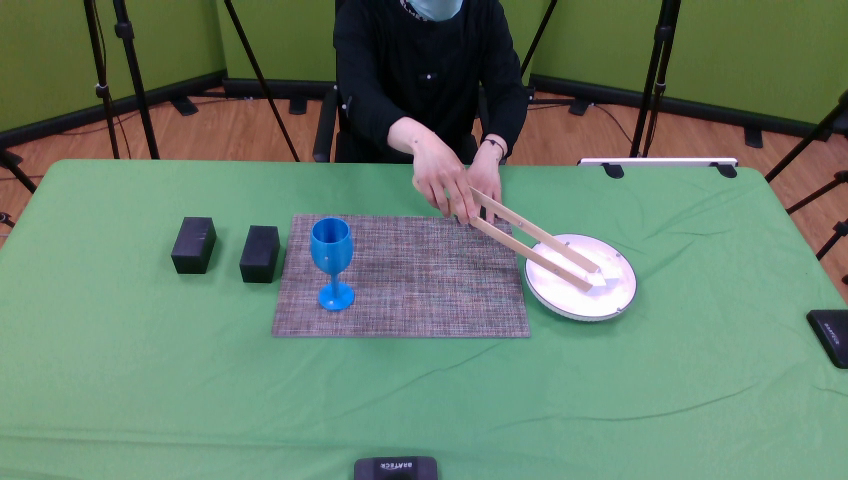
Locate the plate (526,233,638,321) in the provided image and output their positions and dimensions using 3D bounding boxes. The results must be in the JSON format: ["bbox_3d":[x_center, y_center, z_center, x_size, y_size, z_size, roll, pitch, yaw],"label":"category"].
[{"bbox_3d":[0.292,0.071,1.135,0.209,0.038,0.208,2,46,-2],"label":"plate"}]

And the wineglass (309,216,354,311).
[{"bbox_3d":[-0.155,0.043,1.032,0.074,0.173,0.073,2,46,-2],"label":"wineglass"}]

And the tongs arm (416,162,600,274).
[{"bbox_3d":[0.152,-0.038,1.125,0.384,0.026,0.050,34,48,6],"label":"tongs arm"}]

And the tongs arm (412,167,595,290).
[{"bbox_3d":[0.138,-0.019,1.103,0.387,0.028,0.028,32,51,5],"label":"tongs arm"}]
